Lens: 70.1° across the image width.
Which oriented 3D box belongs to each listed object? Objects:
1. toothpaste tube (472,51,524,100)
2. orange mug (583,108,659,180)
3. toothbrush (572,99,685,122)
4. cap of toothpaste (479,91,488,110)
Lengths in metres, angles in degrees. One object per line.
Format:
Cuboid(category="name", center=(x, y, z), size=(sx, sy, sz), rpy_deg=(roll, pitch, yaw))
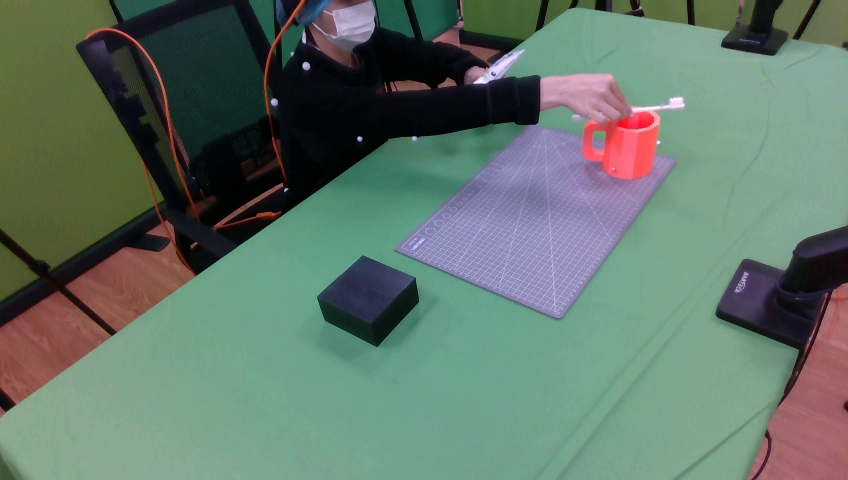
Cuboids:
Cuboid(category="toothpaste tube", center=(0.141, -0.328, 1.197), size=(0.054, 0.035, 0.165), rpy_deg=(2, 43, 42))
Cuboid(category="orange mug", center=(0.343, -0.171, 1.061), size=(0.126, 0.101, 0.083), rpy_deg=(10, 43, 15))
Cuboid(category="toothbrush", center=(0.338, -0.215, 1.012), size=(0.181, 0.017, 0.014), rpy_deg=(-3, 31, 26))
Cuboid(category="cap of toothpaste", center=(0.111, -0.263, 1.141), size=(0.011, 0.037, 0.037), rpy_deg=(9, 43, 18))
